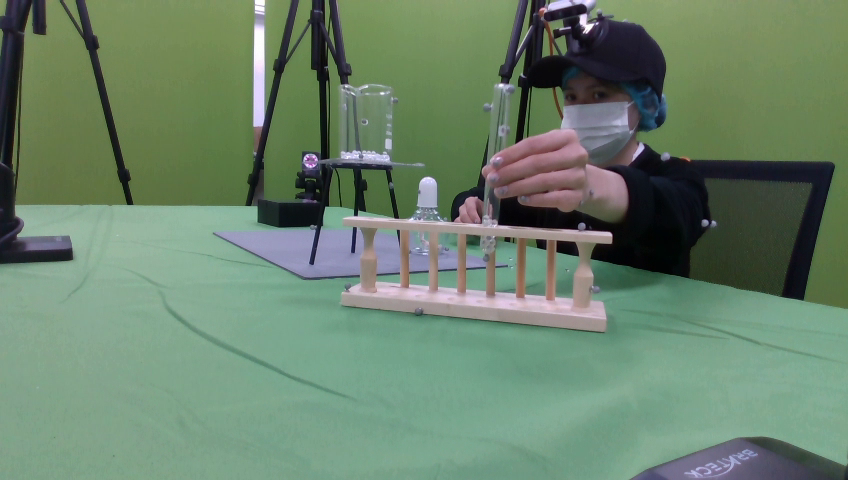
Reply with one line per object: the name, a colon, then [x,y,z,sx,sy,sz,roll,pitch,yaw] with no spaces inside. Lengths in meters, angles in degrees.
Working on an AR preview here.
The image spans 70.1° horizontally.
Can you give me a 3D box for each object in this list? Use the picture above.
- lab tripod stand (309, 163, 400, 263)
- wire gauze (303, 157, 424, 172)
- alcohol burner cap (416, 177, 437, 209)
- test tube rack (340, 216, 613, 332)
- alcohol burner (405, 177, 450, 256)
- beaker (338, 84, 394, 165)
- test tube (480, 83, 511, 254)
lab tripod stand: [-0.091,-0.037,0.813,0.148,0.131,0.148,1,6,0]
wire gauze: [-0.082,-0.101,0.799,0.126,0.011,0.121,1,7,-30]
alcohol burner cap: [0.005,-0.072,0.914,0.034,0.048,0.034,4,10,0]
test tube rack: [0.047,0.026,0.568,0.242,0.085,0.067,4,8,13]
alcohol burner: [0.004,-0.036,0.917,0.078,0.119,0.078,3,5,0]
beaker: [-0.077,-0.149,0.792,0.074,0.100,0.084,2,6,9]
test tube: [0.063,-0.061,0.534,0.017,0.150,0.017,4,8,0]
